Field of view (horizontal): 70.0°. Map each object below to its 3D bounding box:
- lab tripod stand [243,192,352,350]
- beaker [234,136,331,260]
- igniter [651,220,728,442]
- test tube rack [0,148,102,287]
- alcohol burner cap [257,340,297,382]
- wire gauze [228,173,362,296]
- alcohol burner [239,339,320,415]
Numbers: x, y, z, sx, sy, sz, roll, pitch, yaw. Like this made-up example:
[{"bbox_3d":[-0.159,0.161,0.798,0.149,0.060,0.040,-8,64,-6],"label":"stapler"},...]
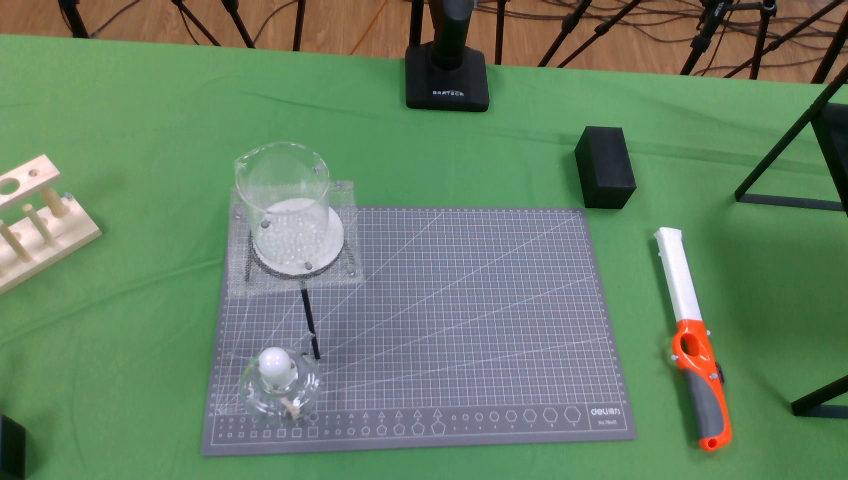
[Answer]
[{"bbox_3d":[-0.128,0.026,0.634,0.149,0.132,0.147,4,60,-7],"label":"lab tripod stand"},{"bbox_3d":[-0.124,-0.033,0.536,0.084,0.101,0.073,23,60,6],"label":"beaker"},{"bbox_3d":[0.310,0.098,0.714,0.057,0.025,0.274,9,59,-14],"label":"igniter"},{"bbox_3d":[-0.480,0.010,0.629,0.242,0.086,0.066,-38,71,-25],"label":"test tube rack"},{"bbox_3d":[-0.136,0.109,0.554,0.034,0.048,0.033,1,64,-2],"label":"alcohol burner cap"},{"bbox_3d":[-0.125,-0.011,0.580,0.122,0.011,0.124,-5,64,-8],"label":"wire gauze"},{"bbox_3d":[-0.140,0.126,0.586,0.078,0.120,0.077,4,58,-7],"label":"alcohol burner"}]
